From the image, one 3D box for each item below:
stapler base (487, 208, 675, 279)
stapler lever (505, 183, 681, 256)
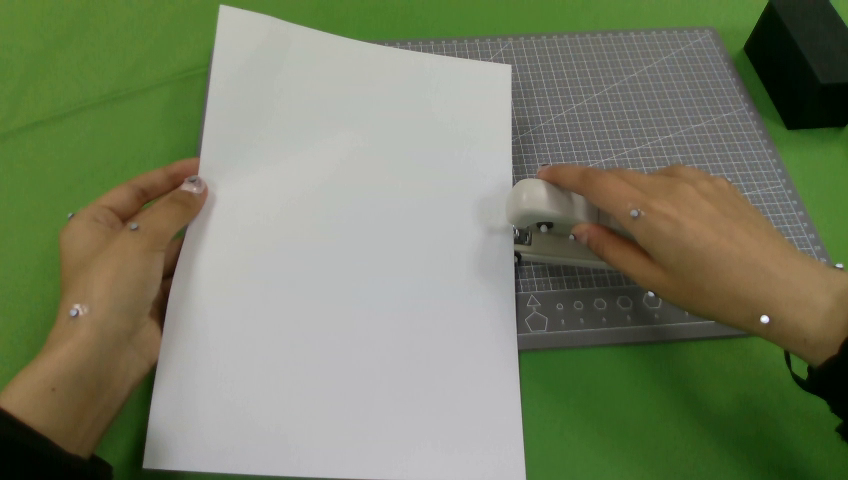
[{"bbox_3d":[0.110,-0.002,0.416,0.130,0.024,0.041,6,67,1],"label":"stapler base"},{"bbox_3d":[0.112,-0.013,0.393,0.118,0.040,0.026,6,66,1],"label":"stapler lever"}]
